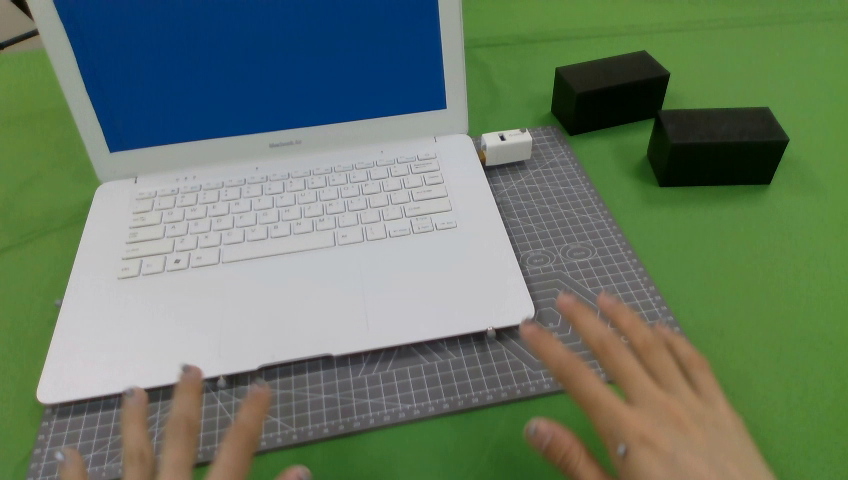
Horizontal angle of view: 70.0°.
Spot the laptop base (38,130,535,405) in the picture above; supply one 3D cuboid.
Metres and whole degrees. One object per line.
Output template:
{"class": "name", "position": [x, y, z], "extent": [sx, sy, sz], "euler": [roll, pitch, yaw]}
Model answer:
{"class": "laptop base", "position": [-0.109, 0.006, 0.506], "extent": [0.355, 0.023, 0.233], "euler": [-9, 49, -5]}

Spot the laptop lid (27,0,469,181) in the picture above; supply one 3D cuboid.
{"class": "laptop lid", "position": [-0.139, -0.177, 0.525], "extent": [0.357, 0.244, 0.013], "euler": [-10, 32, -5]}

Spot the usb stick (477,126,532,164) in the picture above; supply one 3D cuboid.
{"class": "usb stick", "position": [0.070, -0.088, 0.571], "extent": [0.059, 0.027, 0.021], "euler": [-11, 46, -4]}
